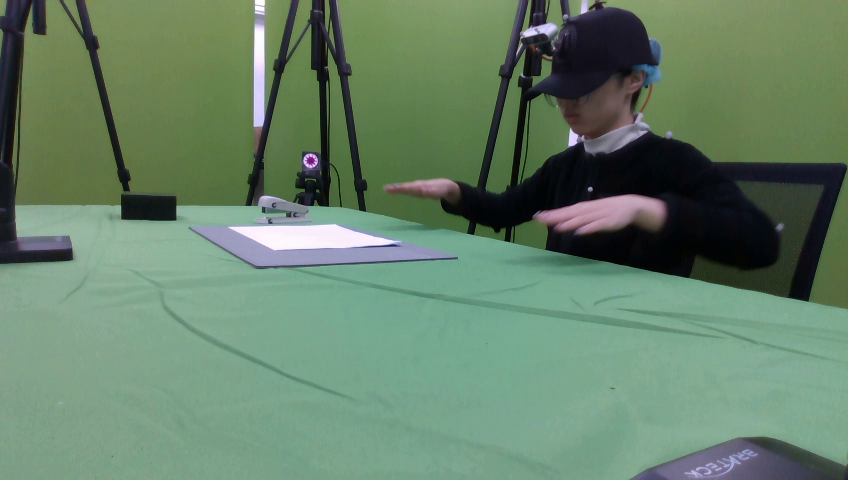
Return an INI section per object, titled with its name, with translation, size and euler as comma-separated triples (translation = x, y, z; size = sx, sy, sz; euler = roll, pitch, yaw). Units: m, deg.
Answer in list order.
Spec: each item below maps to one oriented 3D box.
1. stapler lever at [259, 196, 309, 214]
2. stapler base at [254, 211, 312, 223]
[stapler lever]
translation = -0.301, -0.076, 1.300
size = 0.026, 0.040, 0.119
euler = 11, 11, 38
[stapler base]
translation = -0.302, -0.052, 1.301
size = 0.041, 0.024, 0.131
euler = 11, 10, 38
